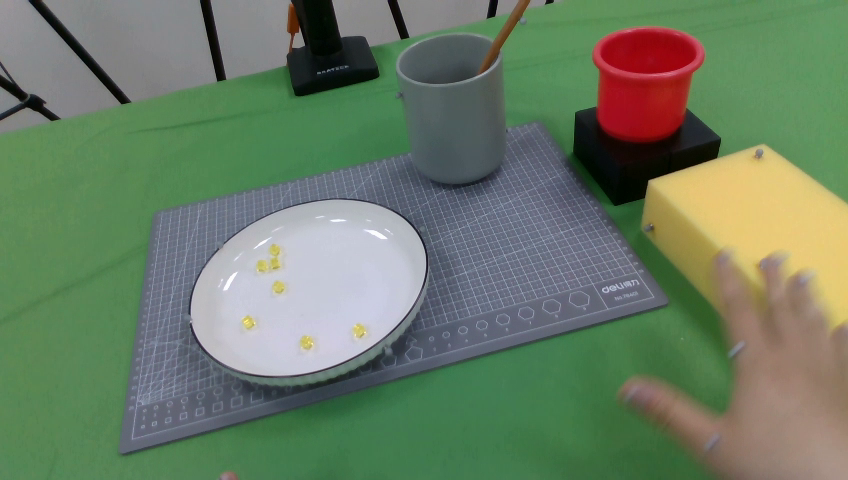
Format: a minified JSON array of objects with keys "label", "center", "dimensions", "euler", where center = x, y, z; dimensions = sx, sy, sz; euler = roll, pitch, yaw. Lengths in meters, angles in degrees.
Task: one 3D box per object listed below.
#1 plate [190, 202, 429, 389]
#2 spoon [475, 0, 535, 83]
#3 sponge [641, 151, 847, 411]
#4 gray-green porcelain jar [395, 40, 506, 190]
[{"label":"plate","center":[-0.096,0.046,0.536],"dimensions":[0.207,0.039,0.205],"euler":[-5,43,5]},{"label":"spoon","center":[0.057,-0.152,0.597],"dimensions":[0.022,0.194,0.041],"euler":[18,37,-12]},{"label":"sponge","center":[0.285,0.019,0.481],"dimensions":[0.118,0.061,0.204],"euler":[-19,43,-9]},{"label":"gray-green porcelain jar","center":[0.031,-0.124,0.628],"dimensions":[0.106,0.128,0.105],"euler":[-5,43,5]}]
